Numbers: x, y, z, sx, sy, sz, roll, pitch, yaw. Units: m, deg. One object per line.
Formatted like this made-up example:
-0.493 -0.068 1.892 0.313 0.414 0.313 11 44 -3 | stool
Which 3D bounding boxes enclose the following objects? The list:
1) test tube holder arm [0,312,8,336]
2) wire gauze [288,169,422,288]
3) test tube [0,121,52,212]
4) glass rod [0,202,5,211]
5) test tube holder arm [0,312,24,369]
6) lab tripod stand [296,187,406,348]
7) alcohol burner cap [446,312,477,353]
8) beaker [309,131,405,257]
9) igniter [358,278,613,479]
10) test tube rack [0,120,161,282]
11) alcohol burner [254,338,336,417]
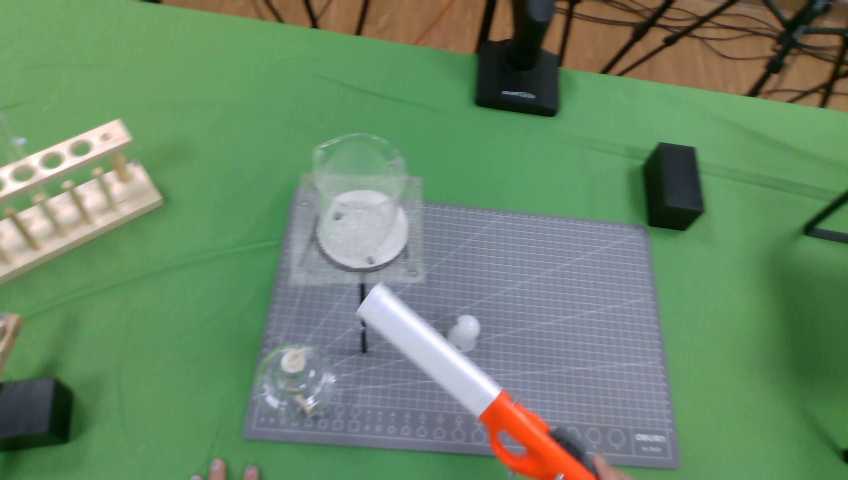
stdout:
-0.398 0.146 0.525 0.013 0.015 0.177 8 59 -3 | test tube holder arm
-0.064 -0.014 0.573 0.122 0.011 0.124 0 65 -6 | wire gauze
-0.407 -0.074 0.607 0.017 0.151 0.017 4 56 -6 | test tube
-0.440 -0.069 0.580 0.008 0.201 0.008 1 55 -1 | glass rod
-0.388 0.108 0.549 0.010 0.015 0.087 9 59 -3 | test tube holder arm
-0.069 0.022 0.627 0.149 0.132 0.147 4 61 -7 | lab tripod stand
0.042 0.098 0.654 0.034 0.048 0.033 7 43 -6 | alcohol burner cap
-0.063 -0.036 0.529 0.084 0.101 0.073 28 61 8 | beaker
0.059 0.132 0.471 0.276 0.057 0.025 41 27 7 | igniter
-0.417 -0.028 0.636 0.242 0.086 0.066 -32 70 -23 | test tube rack
-0.123 0.125 0.574 0.078 0.120 0.077 5 59 -7 | alcohol burner
